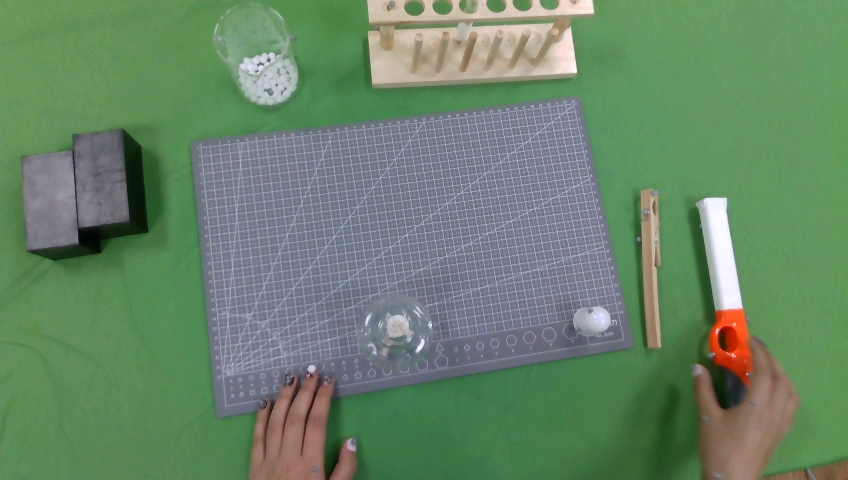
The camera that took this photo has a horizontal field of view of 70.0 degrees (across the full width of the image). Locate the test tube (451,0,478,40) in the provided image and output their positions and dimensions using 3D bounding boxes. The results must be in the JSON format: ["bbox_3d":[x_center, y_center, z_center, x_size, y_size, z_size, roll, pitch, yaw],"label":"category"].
[{"bbox_3d":[0.048,-0.252,0.636,0.017,0.150,0.017,1,80,-8],"label":"test tube"}]

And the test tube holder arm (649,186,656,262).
[{"bbox_3d":[0.258,-0.018,0.695,0.010,0.015,0.087,11,76,-37],"label":"test tube holder arm"}]

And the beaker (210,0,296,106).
[{"bbox_3d":[-0.177,-0.192,0.649,0.074,0.100,0.083,-5,80,-6],"label":"beaker"}]

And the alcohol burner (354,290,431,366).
[{"bbox_3d":[-0.030,0.085,0.598,0.078,0.119,0.077,1,77,-6],"label":"alcohol burner"}]

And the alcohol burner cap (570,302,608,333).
[{"bbox_3d":[0.180,0.083,0.653,0.034,0.048,0.033,1,78,-4],"label":"alcohol burner cap"}]

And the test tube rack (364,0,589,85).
[{"bbox_3d":[0.056,-0.230,0.683,0.243,0.085,0.066,-4,80,-6],"label":"test tube rack"}]

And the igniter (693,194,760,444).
[{"bbox_3d":[0.336,0.083,0.676,0.057,0.025,0.275,-1,79,-15],"label":"igniter"}]

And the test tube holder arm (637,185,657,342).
[{"bbox_3d":[0.252,0.025,0.683,0.013,0.015,0.177,9,78,-37],"label":"test tube holder arm"}]
